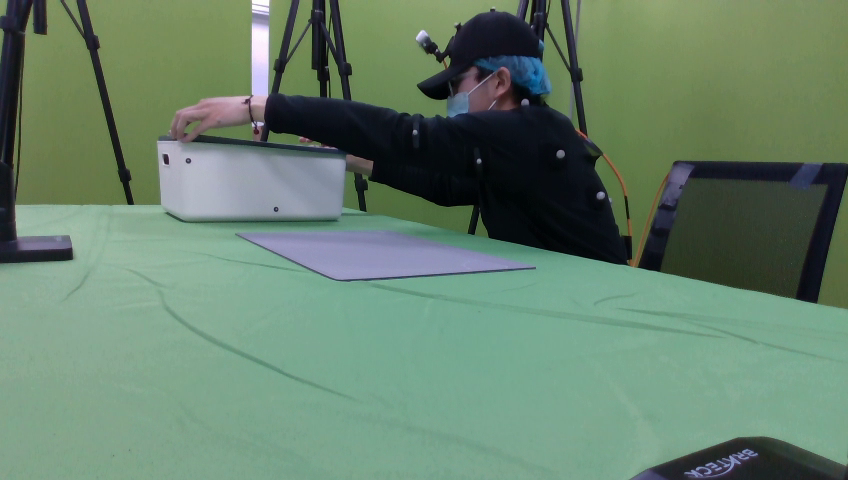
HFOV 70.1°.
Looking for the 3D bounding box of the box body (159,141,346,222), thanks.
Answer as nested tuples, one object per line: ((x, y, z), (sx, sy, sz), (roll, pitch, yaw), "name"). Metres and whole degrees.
((-0.384, -0.133, 1.359), (0.366, 0.160, 0.253), (-2, 9, -33), "box body")

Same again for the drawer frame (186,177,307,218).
((-0.398, -0.098, 1.348), (0.203, 0.082, 0.212), (-4, 8, -37), "drawer frame")

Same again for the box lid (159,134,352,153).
((-0.371, -0.212, 1.346), (0.373, 0.015, 0.262), (-1, 9, -34), "box lid")
